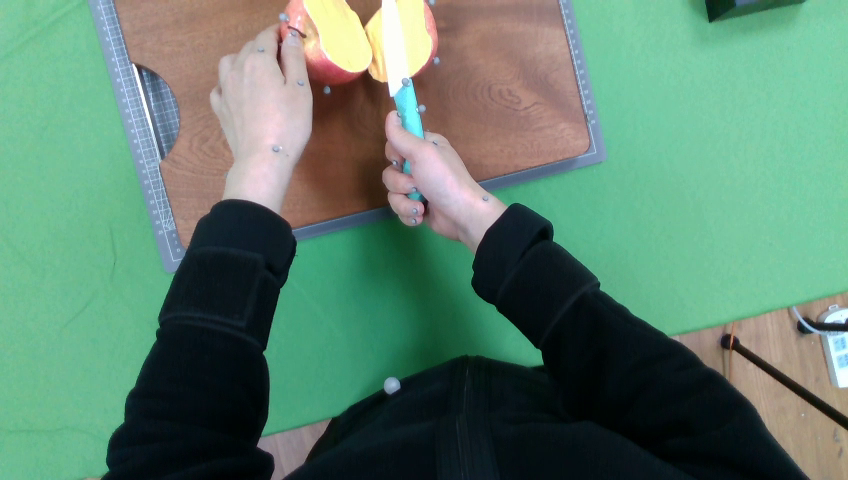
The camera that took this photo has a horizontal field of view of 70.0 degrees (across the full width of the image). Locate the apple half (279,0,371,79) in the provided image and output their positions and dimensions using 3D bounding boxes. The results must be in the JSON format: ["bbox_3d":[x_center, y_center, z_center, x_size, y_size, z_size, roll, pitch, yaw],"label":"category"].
[{"bbox_3d":[-0.091,-0.177,0.530,0.053,0.074,0.081,-21,98,35],"label":"apple half"}]

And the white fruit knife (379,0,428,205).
[{"bbox_3d":[-0.021,-0.135,0.528,0.027,0.016,0.207,-11,85,28],"label":"white fruit knife"}]

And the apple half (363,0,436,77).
[{"bbox_3d":[-0.018,-0.182,0.545,0.081,0.033,0.081,0,90,35],"label":"apple half"}]
